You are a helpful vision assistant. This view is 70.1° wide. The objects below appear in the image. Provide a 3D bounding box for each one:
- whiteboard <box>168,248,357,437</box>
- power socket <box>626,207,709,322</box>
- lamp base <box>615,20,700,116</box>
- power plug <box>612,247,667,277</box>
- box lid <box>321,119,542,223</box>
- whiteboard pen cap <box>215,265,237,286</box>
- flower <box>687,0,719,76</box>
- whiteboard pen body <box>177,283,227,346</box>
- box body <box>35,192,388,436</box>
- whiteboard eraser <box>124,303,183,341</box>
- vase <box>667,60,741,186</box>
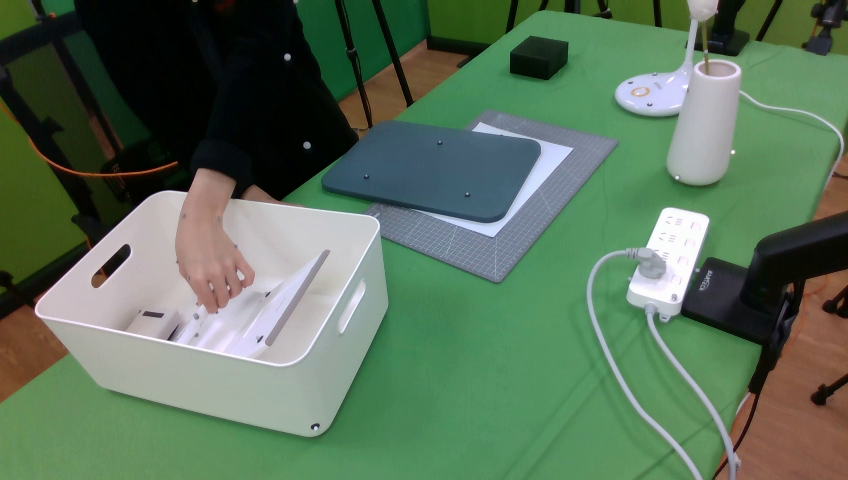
[{"bbox_3d":[-0.241,0.100,0.799,0.304,0.144,0.217,8,44,15],"label":"whiteboard"},{"bbox_3d":[0.360,0.026,0.886,0.072,0.033,0.227,17,46,27],"label":"power socket"},{"bbox_3d":[0.484,-0.364,1.211,0.180,0.181,0.159,-15,41,-14],"label":"lamp base"},{"bbox_3d":[0.306,0.031,0.852,0.072,0.053,0.035,21,48,38],"label":"power plug"},{"bbox_3d":[0.017,-0.141,1.145,0.369,0.015,0.263,12,44,22],"label":"box lid"},{"bbox_3d":[-0.279,0.053,0.850,0.018,0.018,0.033,11,51,20],"label":"whiteboard pen cap"},{"bbox_3d":[0.436,-0.242,0.934,0.038,0.364,0.043,-24,49,8],"label":"flower"},{"bbox_3d":[-0.296,0.097,0.815,0.017,0.017,0.140,9,51,18],"label":"whiteboard pen body"},{"bbox_3d":[-0.251,0.088,0.800,0.362,0.161,0.254,7,42,16],"label":"box body"},{"bbox_3d":[-0.384,0.139,0.829,0.055,0.042,0.112,9,40,8],"label":"whiteboard eraser"},{"bbox_3d":[0.463,-0.189,0.994,0.098,0.201,0.097,-4,40,4],"label":"vase"}]
